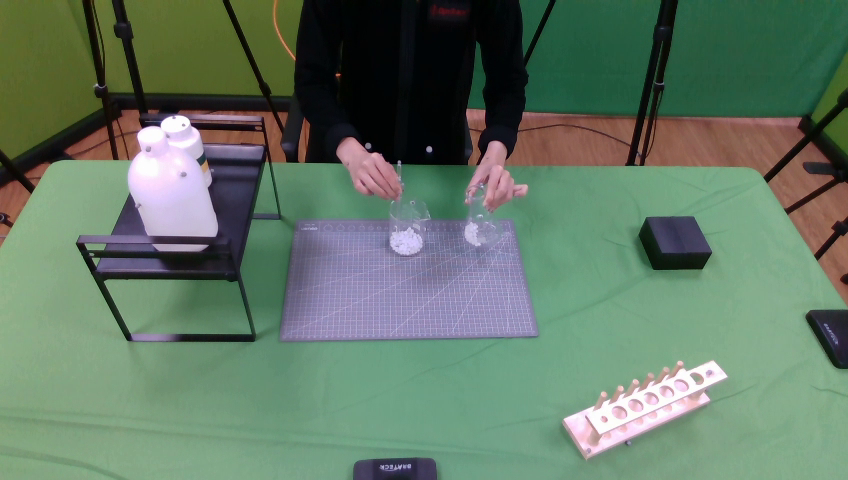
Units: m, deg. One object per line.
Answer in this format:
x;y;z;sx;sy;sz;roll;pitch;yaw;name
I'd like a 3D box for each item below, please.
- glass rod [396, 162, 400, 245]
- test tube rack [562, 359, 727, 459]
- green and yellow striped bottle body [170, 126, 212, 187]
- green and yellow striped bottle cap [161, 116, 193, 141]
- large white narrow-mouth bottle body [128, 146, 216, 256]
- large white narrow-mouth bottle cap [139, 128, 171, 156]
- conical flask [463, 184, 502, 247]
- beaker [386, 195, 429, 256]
-0.047;-0.062;1.113;0.008;0.201;0.008;1;44;-1;glass rod
0.341;0.247;0.940;0.243;0.085;0.066;-16;49;-18;test tube rack
-0.389;-0.139;0.984;0.063;0.120;0.063;2;46;-2;green and yellow striped bottle body
-0.387;-0.174;0.946;0.045;0.020;0.045;3;44;-3;green and yellow striped bottle cap
-0.366;-0.073;0.872;0.102;0.195;0.101;3;47;-3;large white narrow-mouth bottle body
-0.358;-0.131;0.808;0.038;0.024;0.037;3;47;-3;large white narrow-mouth bottle cap
0.103;-0.048;1.127;0.075;0.122;0.075;-7;49;8;conical flask
-0.031;-0.024;1.161;0.084;0.101;0.073;18;48;12;beaker
